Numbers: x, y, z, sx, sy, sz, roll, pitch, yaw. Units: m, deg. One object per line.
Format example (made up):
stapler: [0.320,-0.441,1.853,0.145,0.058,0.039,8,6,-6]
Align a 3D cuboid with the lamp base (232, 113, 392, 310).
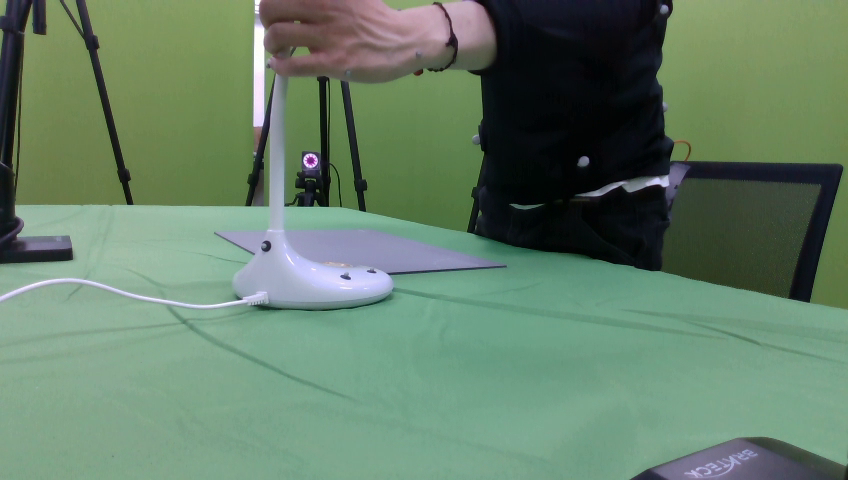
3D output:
lamp base: [-0.113,-0.031,0.593,0.160,0.180,0.179,4,10,18]
